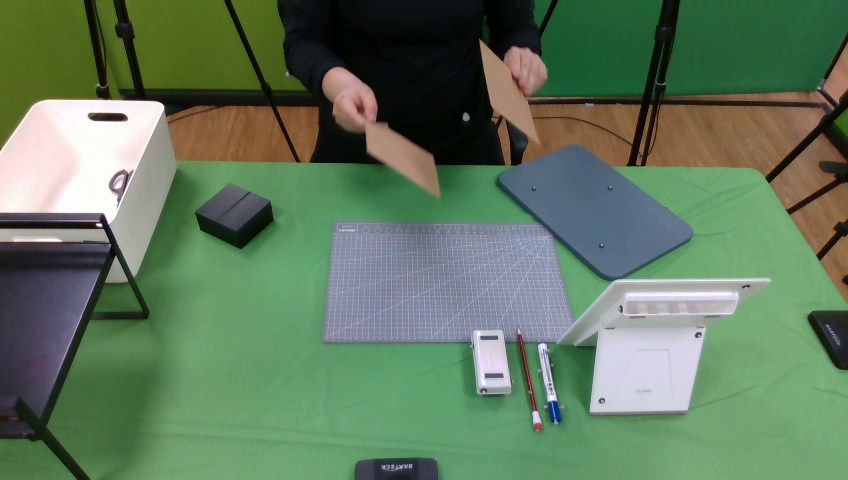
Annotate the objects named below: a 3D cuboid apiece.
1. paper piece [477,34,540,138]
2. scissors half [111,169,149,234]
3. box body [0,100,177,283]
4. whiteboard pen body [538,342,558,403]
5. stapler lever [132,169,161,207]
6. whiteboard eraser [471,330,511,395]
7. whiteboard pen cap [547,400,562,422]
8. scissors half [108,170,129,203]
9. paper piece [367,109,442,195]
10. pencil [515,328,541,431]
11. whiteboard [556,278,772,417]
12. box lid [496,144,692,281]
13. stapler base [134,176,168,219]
[{"bbox_3d":[0.132,-0.238,0.942,0.136,0.004,0.135,26,47,-44],"label":"paper piece"},{"bbox_3d":[-0.596,-0.079,1.223,0.040,0.013,0.174,5,52,2],"label":"scissors half"},{"bbox_3d":[-0.640,-0.095,1.140,0.254,0.161,0.361,0,46,-4],"label":"box body"},{"bbox_3d":[0.205,0.228,0.997,0.017,0.017,0.140,1,46,-3],"label":"whiteboard pen body"},{"bbox_3d":[-0.557,-0.113,1.218,0.027,0.040,0.117,1,42,-8],"label":"stapler lever"},{"bbox_3d":[0.110,0.202,0.998,0.055,0.042,0.112,1,46,-5],"label":"whiteboard eraser"},{"bbox_3d":[0.205,0.269,0.956,0.018,0.018,0.033,0,47,-5],"label":"whiteboard pen cap"},{"bbox_3d":[-0.617,-0.077,1.222,0.040,0.013,0.174,-15,52,-7],"label":"scissors half"},{"bbox_3d":[-0.031,-0.140,0.938,0.136,0.008,0.137,32,26,-27],"label":"paper piece"},{"bbox_3d":[0.169,0.224,1.002,0.012,0.012,0.192,-2,46,-6],"label":"pencil"},{"bbox_3d":[0.347,0.174,0.903,0.217,0.306,0.143,1,65,-4],"label":"whiteboard"},{"bbox_3d":[0.360,-0.073,1.305,0.263,0.015,0.369,-24,52,-25],"label":"box lid"},{"bbox_3d":[-0.558,-0.093,1.234,0.041,0.024,0.129,1,42,-8],"label":"stapler base"}]
